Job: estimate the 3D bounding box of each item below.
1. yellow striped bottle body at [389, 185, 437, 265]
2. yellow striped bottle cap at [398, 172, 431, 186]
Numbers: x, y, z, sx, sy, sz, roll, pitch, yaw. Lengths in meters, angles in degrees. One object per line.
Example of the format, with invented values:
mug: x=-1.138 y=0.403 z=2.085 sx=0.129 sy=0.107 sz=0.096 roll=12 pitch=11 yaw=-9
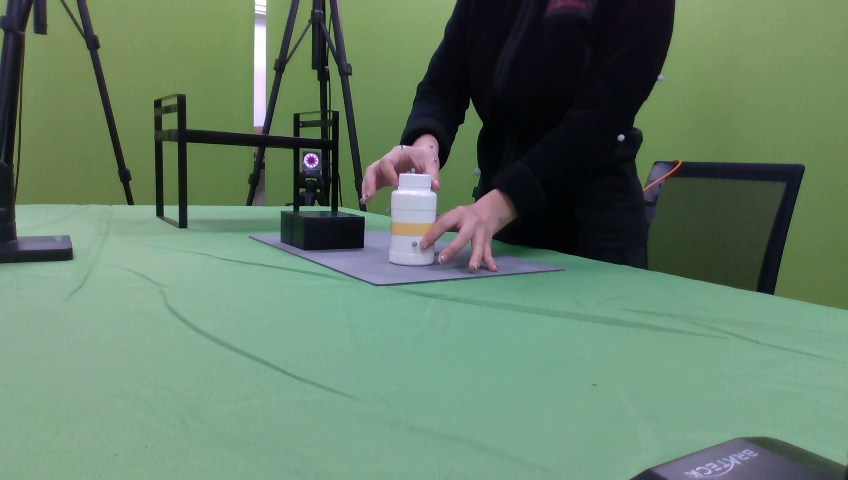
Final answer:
yellow striped bottle body: x=-0.015 y=-0.030 z=0.815 sx=0.063 sy=0.120 sz=0.063 roll=3 pitch=7 yaw=0
yellow striped bottle cap: x=-0.013 y=-0.081 z=0.807 sx=0.044 sy=0.018 sz=0.044 roll=2 pitch=5 yaw=0
